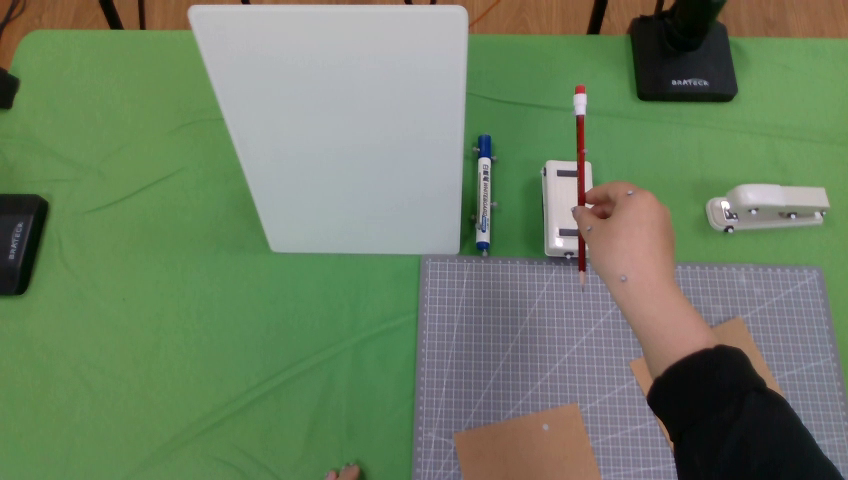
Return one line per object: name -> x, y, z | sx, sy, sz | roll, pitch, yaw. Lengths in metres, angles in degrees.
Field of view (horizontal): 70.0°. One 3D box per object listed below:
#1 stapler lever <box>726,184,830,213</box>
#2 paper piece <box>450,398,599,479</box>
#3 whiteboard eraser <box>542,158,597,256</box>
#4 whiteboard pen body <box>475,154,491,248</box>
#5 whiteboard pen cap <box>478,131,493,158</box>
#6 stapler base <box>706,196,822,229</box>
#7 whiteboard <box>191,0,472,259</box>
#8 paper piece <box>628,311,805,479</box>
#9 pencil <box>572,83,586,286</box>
stapler lever -> 0.395, -0.046, 0.673 | 0.118, 0.040, 0.026 | -4, 72, -1
paper piece -> 0.107, 0.240, 0.604 | 0.135, 0.004, 0.134 | -12, 72, -5
whiteboard eraser -> 0.164, -0.037, 0.689 | 0.055, 0.042, 0.112 | 1, 71, 2
whiteboard pen body -> 0.070, -0.058, 0.710 | 0.017, 0.017, 0.140 | 3, 70, 2
whiteboard pen cap -> 0.074, -0.113, 0.728 | 0.018, 0.018, 0.033 | 0, 68, 1
stapler base -> 0.394, -0.038, 0.695 | 0.131, 0.024, 0.041 | -3, 73, -3
whiteboard -> -0.066, -0.133, 0.618 | 0.217, 0.308, 0.142 | 2, 51, 2
paper piece -> 0.302, 0.161, 0.631 | 0.136, 0.009, 0.137 | -21, 73, -2
pencil -> 0.148, -0.053, 0.573 | 0.012, 0.012, 0.193 | -1, 88, 1
